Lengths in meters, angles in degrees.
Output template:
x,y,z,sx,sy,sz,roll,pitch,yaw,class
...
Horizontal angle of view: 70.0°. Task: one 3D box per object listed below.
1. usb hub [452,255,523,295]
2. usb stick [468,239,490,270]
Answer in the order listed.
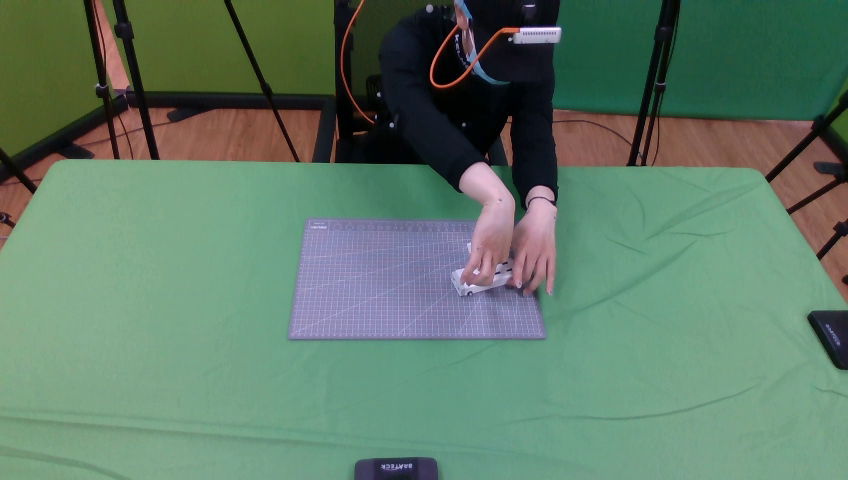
x,y,z,sx,sy,sz,roll,pitch,yaw,class
0.119,0.065,1.132,0.125,0.025,0.049,-14,49,-15,usb hub
0.103,0.028,1.115,0.021,0.059,0.027,-29,19,-28,usb stick
